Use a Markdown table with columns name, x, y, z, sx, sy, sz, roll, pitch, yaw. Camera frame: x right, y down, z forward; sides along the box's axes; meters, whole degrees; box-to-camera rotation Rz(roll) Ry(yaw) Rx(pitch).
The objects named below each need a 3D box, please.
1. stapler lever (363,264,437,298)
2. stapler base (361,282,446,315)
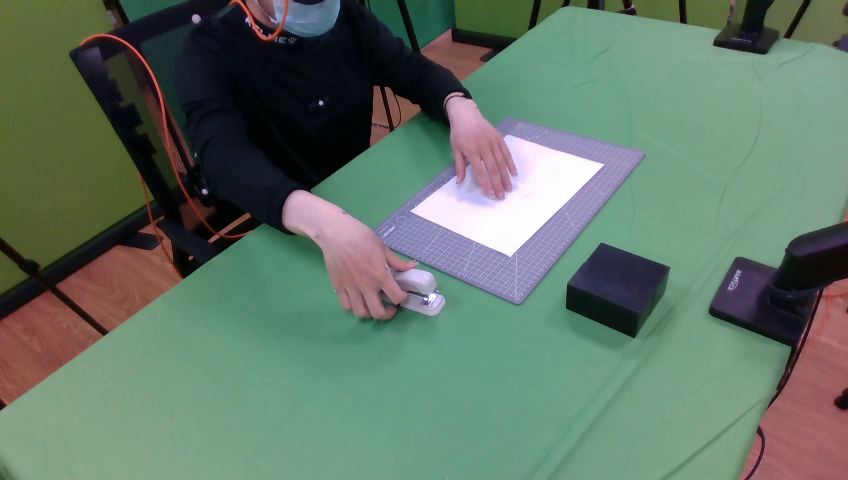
| name | x | y | z | sx | sy | sz | roll | pitch | yaw |
| --- | --- | --- | --- | --- | --- | --- | --- | --- | --- |
| stapler lever | -0.036 | 0.054 | 0.873 | 0.117 | 0.040 | 0.027 | 14 | 41 | 26 |
| stapler base | -0.031 | 0.073 | 0.888 | 0.130 | 0.024 | 0.041 | 14 | 41 | 26 |
